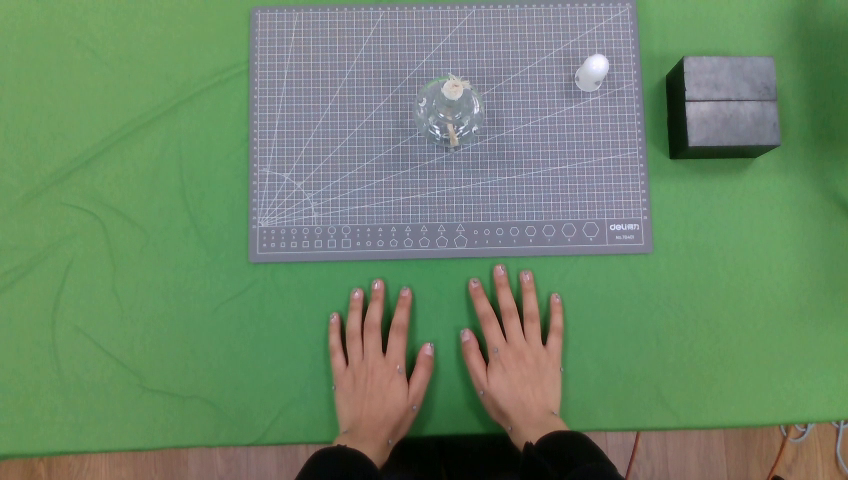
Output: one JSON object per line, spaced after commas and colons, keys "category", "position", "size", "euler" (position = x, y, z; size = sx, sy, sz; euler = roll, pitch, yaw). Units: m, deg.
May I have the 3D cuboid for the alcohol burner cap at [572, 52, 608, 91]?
{"category": "alcohol burner cap", "position": [0.188, -0.191, 0.680], "size": [0.034, 0.048, 0.033], "euler": [0, 82, -1]}

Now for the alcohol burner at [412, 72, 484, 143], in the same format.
{"category": "alcohol burner", "position": [0.026, -0.144, 0.637], "size": [0.078, 0.119, 0.077], "euler": [0, 83, -2]}
